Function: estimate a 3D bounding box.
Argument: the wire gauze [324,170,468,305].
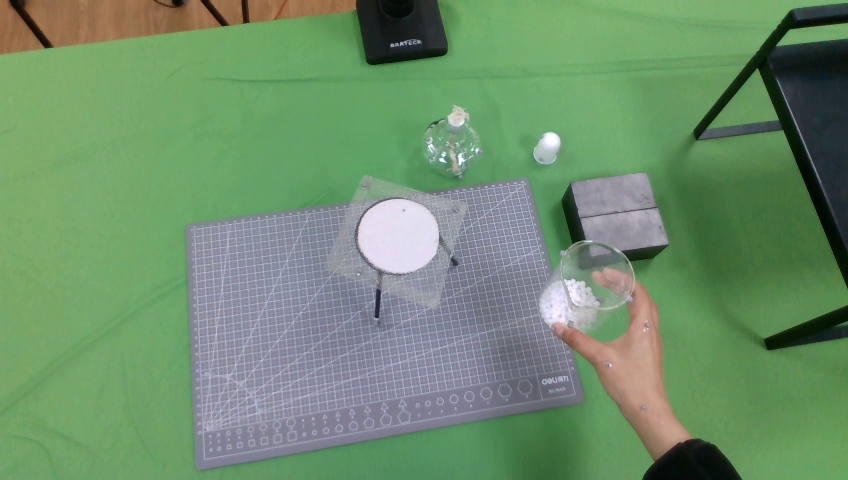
[{"bbox_3d":[-0.027,-0.007,0.636,0.125,0.011,0.121,19,70,4],"label":"wire gauze"}]

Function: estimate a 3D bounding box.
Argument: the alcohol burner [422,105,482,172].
[{"bbox_3d":[0.037,-0.137,0.771,0.078,0.120,0.077,1,69,-3],"label":"alcohol burner"}]

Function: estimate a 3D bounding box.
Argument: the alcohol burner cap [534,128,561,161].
[{"bbox_3d":[0.167,-0.130,0.813,0.034,0.048,0.033,0,69,-1],"label":"alcohol burner cap"}]

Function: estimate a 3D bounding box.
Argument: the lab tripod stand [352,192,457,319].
[{"bbox_3d":[-0.029,0.010,0.701,0.148,0.132,0.147,1,68,-3],"label":"lab tripod stand"}]

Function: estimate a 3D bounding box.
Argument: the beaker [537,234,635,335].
[{"bbox_3d":[0.160,0.053,0.623,0.073,0.101,0.084,35,65,12],"label":"beaker"}]
